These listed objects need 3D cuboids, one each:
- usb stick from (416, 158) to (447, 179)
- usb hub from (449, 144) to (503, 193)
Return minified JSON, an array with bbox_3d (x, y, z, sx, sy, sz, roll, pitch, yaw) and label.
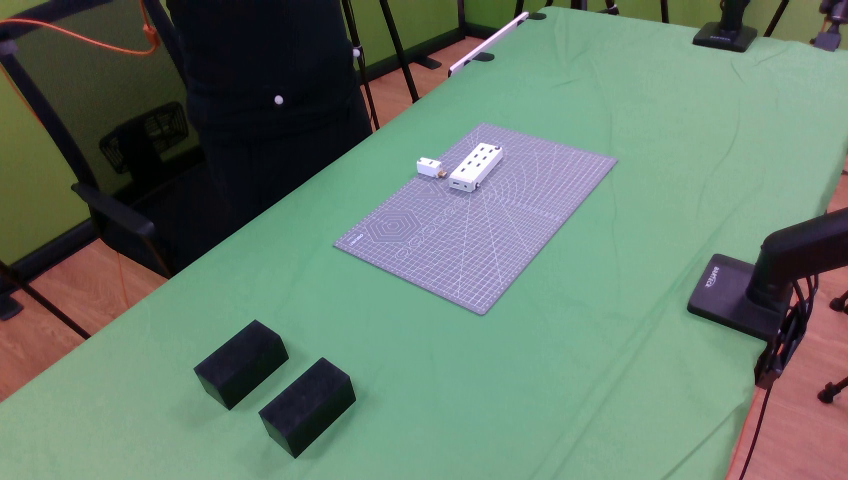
[{"bbox_3d":[0.016,-0.130,1.114,0.059,0.027,0.021,21,44,25],"label":"usb stick"},{"bbox_3d":[0.096,-0.132,1.105,0.049,0.025,0.125,18,47,27],"label":"usb hub"}]
